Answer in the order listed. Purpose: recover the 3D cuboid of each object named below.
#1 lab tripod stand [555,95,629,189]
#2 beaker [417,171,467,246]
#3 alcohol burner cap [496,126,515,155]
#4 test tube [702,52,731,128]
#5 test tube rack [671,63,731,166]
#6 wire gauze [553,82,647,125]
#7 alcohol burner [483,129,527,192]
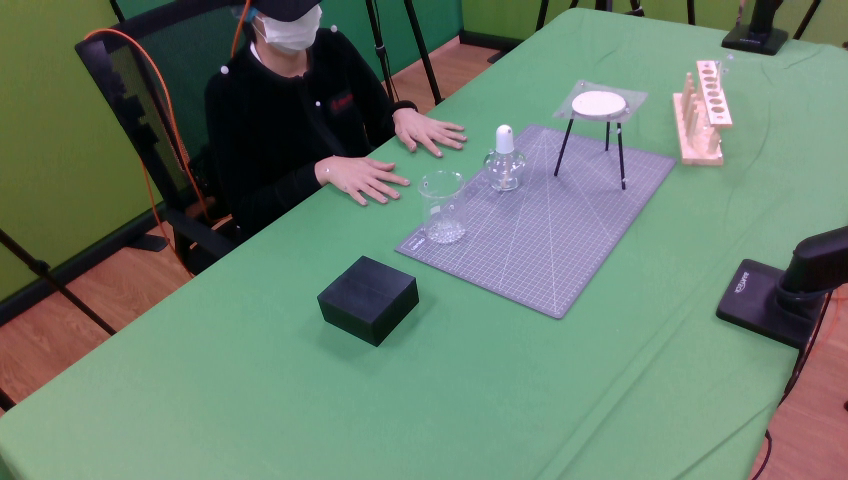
[{"bbox_3d":[0.300,-0.174,1.045,0.148,0.132,0.147,-5,38,5],"label":"lab tripod stand"},{"bbox_3d":[0.034,-0.049,0.965,0.084,0.101,0.073,-32,46,-27],"label":"beaker"},{"bbox_3d":[0.138,-0.172,1.028,0.034,0.048,0.033,-5,38,4],"label":"alcohol burner cap"},{"bbox_3d":[0.522,-0.265,1.082,0.017,0.151,0.017,-4,45,4],"label":"test tube"},{"bbox_3d":[0.513,-0.240,1.132,0.066,0.085,0.242,4,41,14],"label":"test tube rack"},{"bbox_3d":[0.293,-0.225,1.003,0.120,0.011,0.125,17,45,27],"label":"wire gauze"},{"bbox_3d":[0.141,-0.144,1.050,0.078,0.119,0.077,-4,42,4],"label":"alcohol burner"}]
